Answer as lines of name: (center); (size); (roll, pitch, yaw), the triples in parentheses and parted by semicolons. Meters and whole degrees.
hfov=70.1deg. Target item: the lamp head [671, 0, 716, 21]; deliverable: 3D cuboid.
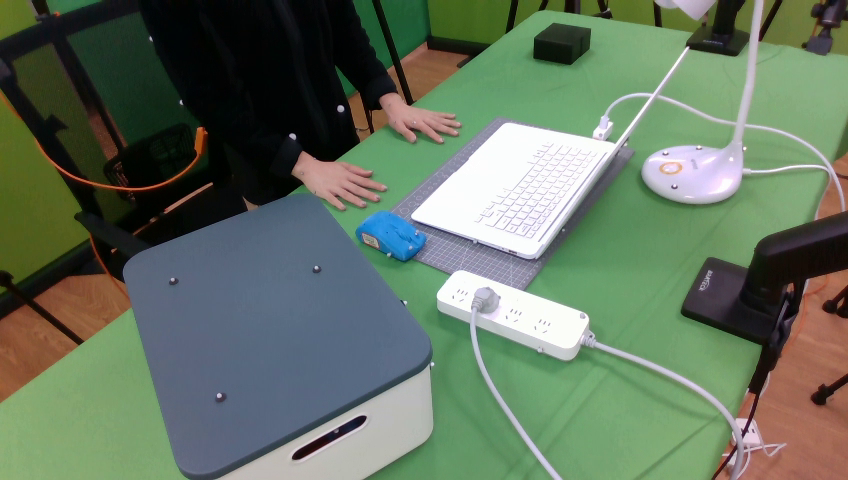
lamp head: (0.375, -0.373, 0.807); (0.122, 0.113, 0.112); (-40, 27, 32)

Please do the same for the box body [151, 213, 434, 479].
box body: (-0.175, 0.131, 0.738); (0.255, 0.161, 0.360); (-25, 43, -19)

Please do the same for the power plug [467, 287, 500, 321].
power plug: (0.073, 0.092, 0.814); (0.035, 0.053, 0.073); (29, 54, 34)

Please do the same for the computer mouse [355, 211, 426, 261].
computer mouse: (-0.055, -0.010, 0.979); (0.116, 0.041, 0.063); (27, 49, 29)

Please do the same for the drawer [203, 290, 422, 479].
drawer: (-0.136, 0.188, 0.740); (0.195, 0.073, 0.210); (-24, 52, -22)

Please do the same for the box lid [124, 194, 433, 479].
box lid: (-0.182, 0.076, 0.689); (0.264, 0.015, 0.368); (-24, 42, -20)

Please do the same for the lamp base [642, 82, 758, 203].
lamp base: (0.464, -0.174, 0.992); (0.179, 0.181, 0.159); (-5, 41, -1)

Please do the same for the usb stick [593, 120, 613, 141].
usb stick: (0.336, -0.201, 1.146); (0.021, 0.027, 0.059); (26, 53, 27)

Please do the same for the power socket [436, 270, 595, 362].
power socket: (0.119, 0.101, 0.832); (0.225, 0.033, 0.072); (19, 48, 27)

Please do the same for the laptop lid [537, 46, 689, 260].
laptop lid: (0.293, -0.136, 0.927); (0.013, 0.241, 0.357); (35, 51, 10)

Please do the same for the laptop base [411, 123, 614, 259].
laptop base: (0.168, -0.101, 1.073); (0.234, 0.023, 0.355); (17, 46, 30)
